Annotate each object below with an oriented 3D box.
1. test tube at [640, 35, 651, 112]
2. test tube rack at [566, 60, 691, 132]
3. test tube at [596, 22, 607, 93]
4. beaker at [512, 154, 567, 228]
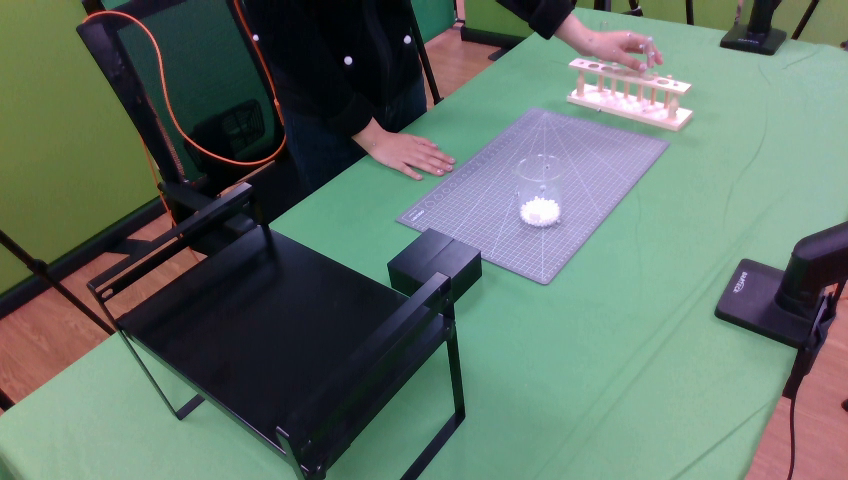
[{"bbox_3d":[0.422,-0.314,1.153,0.017,0.151,0.017,-8,36,6],"label":"test tube"},{"bbox_3d":[0.411,-0.299,1.217,0.240,0.085,0.067,26,51,33],"label":"test tube rack"},{"bbox_3d":[0.363,-0.372,1.240,0.017,0.151,0.017,-6,39,5],"label":"test tube"},{"bbox_3d":[0.186,-0.076,0.973,0.084,0.101,0.074,1,41,11],"label":"beaker"}]
